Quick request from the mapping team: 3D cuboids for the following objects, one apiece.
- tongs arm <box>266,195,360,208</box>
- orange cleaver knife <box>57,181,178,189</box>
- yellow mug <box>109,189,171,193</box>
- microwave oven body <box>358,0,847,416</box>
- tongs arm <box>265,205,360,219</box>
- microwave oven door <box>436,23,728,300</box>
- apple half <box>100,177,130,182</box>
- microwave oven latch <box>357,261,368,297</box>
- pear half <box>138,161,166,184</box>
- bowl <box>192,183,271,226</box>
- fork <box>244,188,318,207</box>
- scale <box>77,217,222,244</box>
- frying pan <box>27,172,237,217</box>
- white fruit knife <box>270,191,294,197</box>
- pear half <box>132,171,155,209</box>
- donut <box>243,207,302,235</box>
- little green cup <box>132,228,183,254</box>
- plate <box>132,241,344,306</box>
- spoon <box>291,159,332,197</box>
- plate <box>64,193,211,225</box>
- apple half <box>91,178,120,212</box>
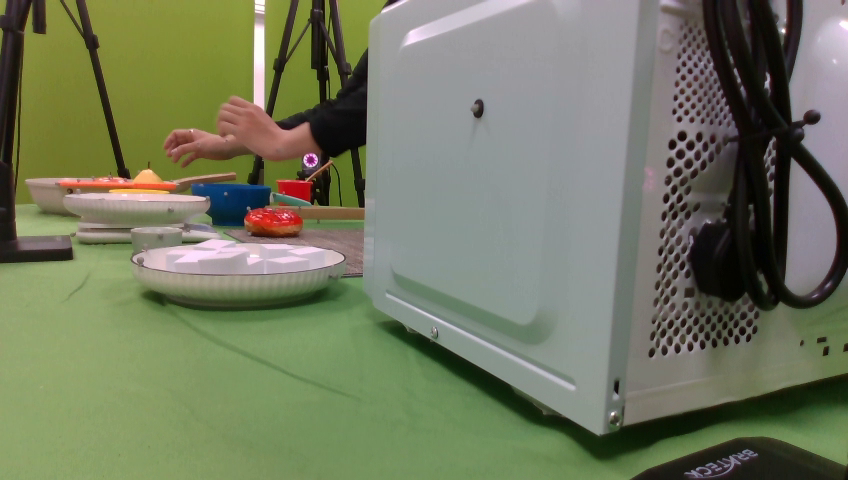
[{"bbox_3d":[-0.203,-0.080,1.434,0.389,0.028,0.028,4,6,-15],"label":"tongs arm"},{"bbox_3d":[-0.600,-0.109,1.188,0.212,0.012,0.077,-1,11,-26],"label":"orange cleaver knife"},{"bbox_3d":[-0.519,-0.055,1.081,0.099,0.064,0.131,7,10,26],"label":"yellow mug"},{"bbox_3d":[0.211,-0.047,0.474,0.444,0.260,0.324,-1,7,-28],"label":"microwave oven body"},{"bbox_3d":[-0.171,-0.063,1.359,0.387,0.026,0.050,0,10,-29],"label":"tongs arm"},{"bbox_3d":[0.180,-0.073,0.621,0.358,0.243,0.039,-2,9,-29],"label":"microwave oven door"},{"bbox_3d":[-0.639,-0.093,1.266,0.053,0.074,0.081,8,6,10],"label":"apple half"},{"bbox_3d":[-0.019,0.033,0.531,0.079,0.029,0.030,-1,7,-27],"label":"microwave oven latch"},{"bbox_3d":[-0.602,-0.121,1.354,0.056,0.110,0.076,3,11,6],"label":"pear half"},{"bbox_3d":[-0.382,-0.071,1.202,0.151,0.077,0.151,3,7,0],"label":"bowl"},{"bbox_3d":[-0.356,-0.105,1.526,0.208,0.018,0.028,16,-5,-41],"label":"fork"},{"bbox_3d":[-0.434,-0.019,0.963,0.202,0.031,0.148,-1,8,-27],"label":"scale"},{"bbox_3d":[-0.624,-0.119,1.387,0.305,0.102,0.490,8,17,32],"label":"frying pan"},{"bbox_3d":[-0.364,-0.105,1.464,0.208,0.027,0.016,15,0,-34],"label":"white fruit knife"},{"bbox_3d":[-0.636,-0.113,1.362,0.031,0.088,0.070,2,13,1],"label":"pear half"},{"bbox_3d":[-0.261,-0.032,1.043,0.099,0.048,0.099,4,9,0],"label":"donut"},{"bbox_3d":[-0.342,0.006,0.779,0.061,0.038,0.061,2,8,0],"label":"little green cup"},{"bbox_3d":[-0.187,0.033,0.625,0.208,0.039,0.207,2,8,0],"label":"plate"},{"bbox_3d":[-0.316,-0.158,1.640,0.194,0.022,0.041,-50,31,-20],"label":"spoon"},{"bbox_3d":[-0.446,-0.051,0.952,0.209,0.038,0.209,2,7,0],"label":"plate"},{"bbox_3d":[-0.677,-0.096,1.271,0.033,0.081,0.081,7,8,10],"label":"apple half"}]
